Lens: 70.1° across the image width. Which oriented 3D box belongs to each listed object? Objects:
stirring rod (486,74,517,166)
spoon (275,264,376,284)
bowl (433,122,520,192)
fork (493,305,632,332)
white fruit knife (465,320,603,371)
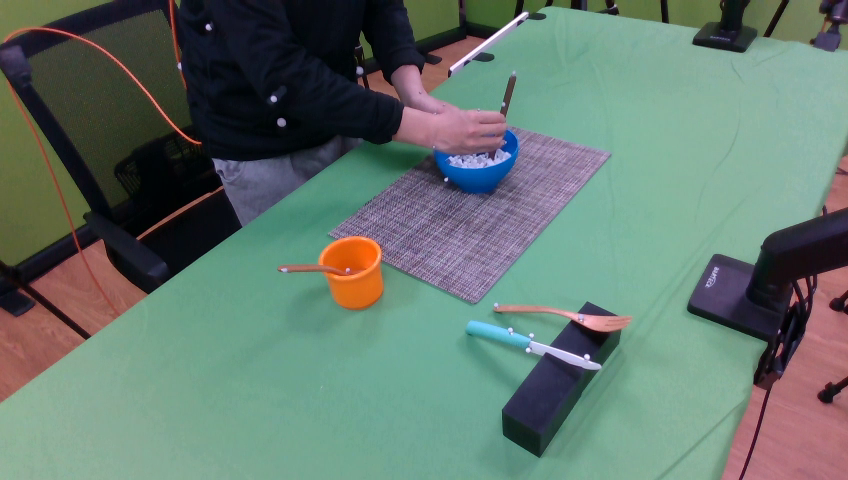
[{"bbox_3d":[0.130,-0.196,1.026,0.014,0.176,0.005,-19,46,-36],"label":"stirring rod"},{"bbox_3d":[-0.133,0.044,0.839,0.041,0.195,0.021,24,95,33],"label":"spoon"},{"bbox_3d":[0.093,-0.137,1.064,0.151,0.077,0.150,-4,41,4],"label":"bowl"},{"bbox_3d":[0.171,0.097,0.783,0.205,0.019,0.028,4,41,43],"label":"fork"},{"bbox_3d":[0.128,0.129,0.749,0.205,0.027,0.016,10,45,43],"label":"white fruit knife"}]
